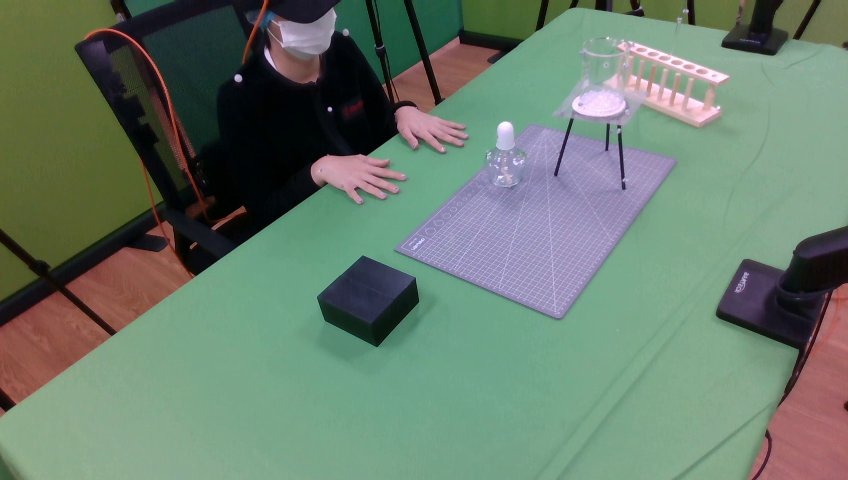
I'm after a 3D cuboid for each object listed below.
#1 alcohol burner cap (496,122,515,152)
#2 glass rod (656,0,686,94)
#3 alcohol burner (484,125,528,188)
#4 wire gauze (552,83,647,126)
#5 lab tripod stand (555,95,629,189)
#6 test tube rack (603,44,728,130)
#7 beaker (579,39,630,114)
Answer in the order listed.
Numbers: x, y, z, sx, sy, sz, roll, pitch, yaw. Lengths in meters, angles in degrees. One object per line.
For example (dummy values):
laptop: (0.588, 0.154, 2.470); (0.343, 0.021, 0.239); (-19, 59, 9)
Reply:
alcohol burner cap: (0.139, -0.179, 1.037); (0.034, 0.048, 0.033); (-4, 44, 4)
glass rod: (0.491, -0.381, 1.199); (0.008, 0.200, 0.008); (1, 41, 0)
alcohol burner: (0.144, -0.152, 1.059); (0.078, 0.119, 0.077); (-3, 41, 3)
wire gauze: (0.293, -0.224, 1.004); (0.120, 0.011, 0.125); (19, 43, 26)
lab tripod stand: (0.300, -0.174, 1.045); (0.148, 0.132, 0.147); (-5, 38, 5)
test tube rack: (0.480, -0.316, 1.227); (0.067, 0.085, 0.240); (-28, 44, -22)
beaker: (0.289, -0.263, 0.975); (0.073, 0.101, 0.084); (17, 45, 27)
